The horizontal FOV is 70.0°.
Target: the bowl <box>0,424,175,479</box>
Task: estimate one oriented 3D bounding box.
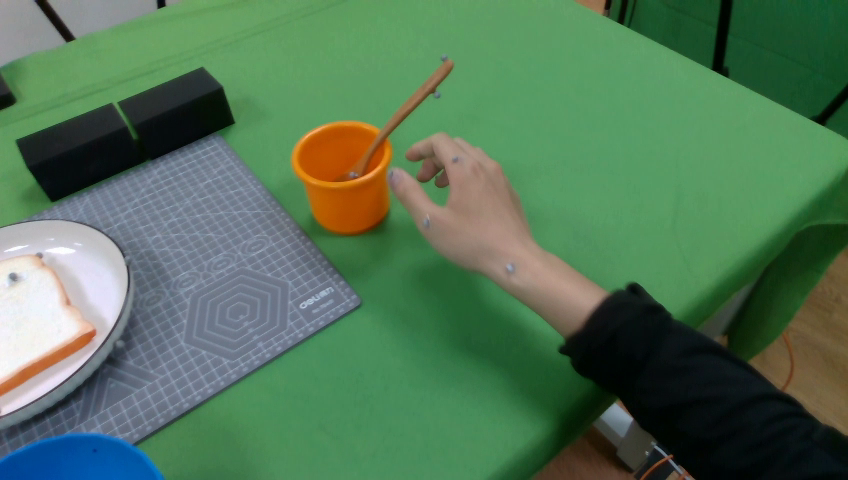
[{"bbox_3d":[-0.211,0.198,0.365,0.151,0.077,0.150,-1,50,2],"label":"bowl"}]

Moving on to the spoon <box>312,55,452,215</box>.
[{"bbox_3d":[-0.041,-0.094,0.559,0.022,0.194,0.041,16,35,-46],"label":"spoon"}]

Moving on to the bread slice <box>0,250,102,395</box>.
[{"bbox_3d":[-0.350,0.067,0.508,0.107,0.018,0.133,-38,60,-25],"label":"bread slice"}]

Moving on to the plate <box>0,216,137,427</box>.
[{"bbox_3d":[-0.344,0.067,0.504,0.209,0.038,0.207,-1,50,2],"label":"plate"}]
